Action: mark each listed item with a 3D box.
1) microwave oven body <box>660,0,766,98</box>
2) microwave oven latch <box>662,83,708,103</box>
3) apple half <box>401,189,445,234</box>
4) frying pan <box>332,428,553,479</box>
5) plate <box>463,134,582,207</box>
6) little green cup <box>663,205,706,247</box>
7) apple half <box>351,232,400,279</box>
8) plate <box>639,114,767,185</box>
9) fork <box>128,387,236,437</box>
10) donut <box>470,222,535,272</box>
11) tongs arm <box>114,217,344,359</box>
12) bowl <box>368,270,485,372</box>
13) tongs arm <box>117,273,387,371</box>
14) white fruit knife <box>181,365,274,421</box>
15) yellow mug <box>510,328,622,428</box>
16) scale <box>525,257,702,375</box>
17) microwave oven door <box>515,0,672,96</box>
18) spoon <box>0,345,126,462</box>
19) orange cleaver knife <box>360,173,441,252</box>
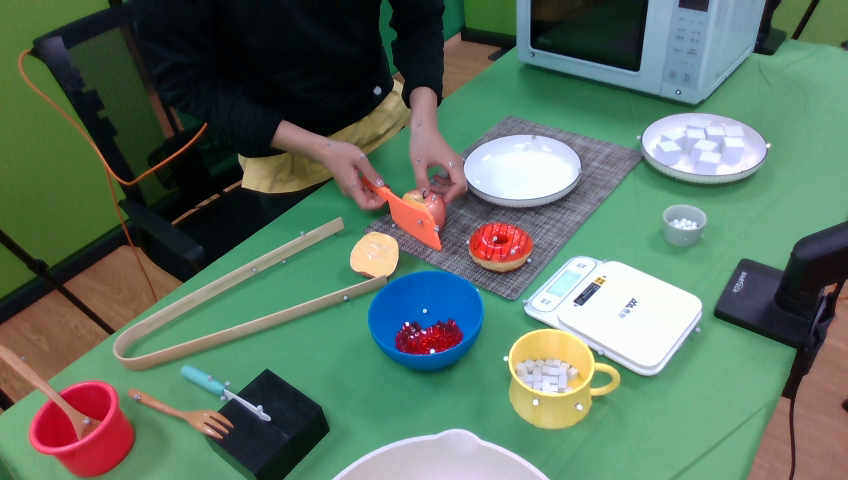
[{"bbox_3d":[0.472,-0.513,1.317,0.438,0.261,0.327,26,51,34],"label":"microwave oven body"},{"bbox_3d":[0.517,-0.296,1.204,0.078,0.029,0.030,28,52,35],"label":"microwave oven latch"},{"bbox_3d":[0.005,-0.044,0.981,0.053,0.075,0.080,-24,38,-33],"label":"apple half"},{"bbox_3d":[-0.089,0.306,0.564,0.487,0.103,0.306,10,41,7],"label":"frying pan"},{"bbox_3d":[0.173,-0.119,1.070,0.209,0.038,0.208,-4,40,4],"label":"plate"},{"bbox_3d":[0.396,-0.020,0.926,0.061,0.039,0.061,-4,40,4],"label":"little green cup"},{"bbox_3d":[-0.071,0.029,0.940,0.081,0.033,0.081,-2,64,5],"label":"apple half"},{"bbox_3d":[0.489,-0.157,1.074,0.207,0.039,0.206,-4,40,4],"label":"plate"},{"bbox_3d":[-0.305,0.207,0.744,0.206,0.019,0.028,3,42,36],"label":"fork"},{"bbox_3d":[0.119,0.009,0.923,0.099,0.048,0.098,-4,38,3],"label":"donut"},{"bbox_3d":[-0.280,0.068,0.927,0.386,0.026,0.050,-29,49,-22],"label":"tongs arm"},{"bbox_3d":[0.007,0.118,0.791,0.151,0.077,0.150,-5,40,4],"label":"bowl"},{"bbox_3d":[-0.237,0.116,0.870,0.389,0.028,0.028,-18,49,-12],"label":"tongs arm"},{"bbox_3d":[-0.245,0.187,0.747,0.205,0.027,0.016,9,41,40],"label":"white fruit knife"},{"bbox_3d":[0.168,0.164,0.722,0.130,0.064,0.099,0,40,8],"label":"yellow mug"},{"bbox_3d":[0.254,0.091,0.821,0.199,0.032,0.149,28,51,35],"label":"scale"},{"bbox_3d":[0.343,-0.455,1.259,0.353,0.245,0.039,26,51,33],"label":"microwave oven door"},{"bbox_3d":[-0.434,0.192,0.720,0.194,0.021,0.042,47,53,-7],"label":"spoon"},{"bbox_3d":[-0.041,-0.047,0.990,0.012,0.077,0.209,-27,42,-28],"label":"orange cleaver knife"}]
